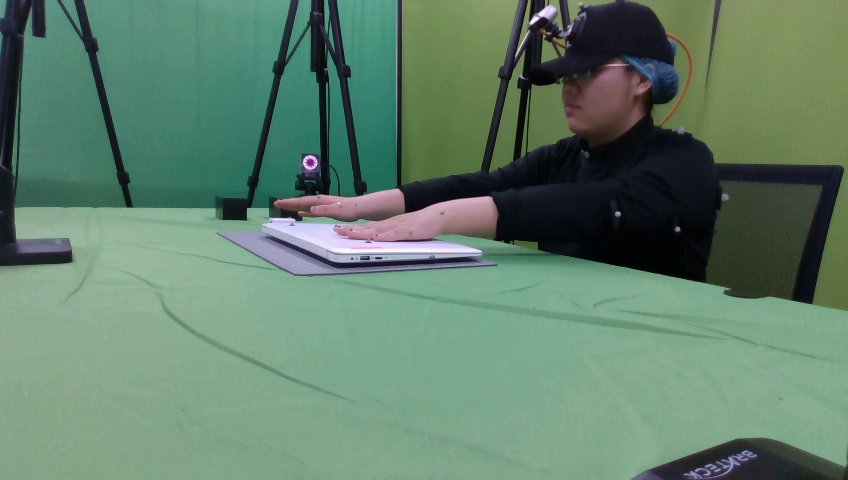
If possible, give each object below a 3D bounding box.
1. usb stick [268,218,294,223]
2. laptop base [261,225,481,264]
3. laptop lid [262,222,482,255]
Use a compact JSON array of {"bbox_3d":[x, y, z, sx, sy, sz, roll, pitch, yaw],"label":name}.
[{"bbox_3d":[-0.272,-0.027,1.119,0.059,0.027,0.021,-7,12,-34],"label":"usb stick"},{"bbox_3d":[-0.101,0.006,0.965,0.237,0.023,0.352,2,6,-31],"label":"laptop base"},{"bbox_3d":[-0.098,-0.005,0.964,0.243,0.013,0.355,1,7,-29],"label":"laptop lid"}]
